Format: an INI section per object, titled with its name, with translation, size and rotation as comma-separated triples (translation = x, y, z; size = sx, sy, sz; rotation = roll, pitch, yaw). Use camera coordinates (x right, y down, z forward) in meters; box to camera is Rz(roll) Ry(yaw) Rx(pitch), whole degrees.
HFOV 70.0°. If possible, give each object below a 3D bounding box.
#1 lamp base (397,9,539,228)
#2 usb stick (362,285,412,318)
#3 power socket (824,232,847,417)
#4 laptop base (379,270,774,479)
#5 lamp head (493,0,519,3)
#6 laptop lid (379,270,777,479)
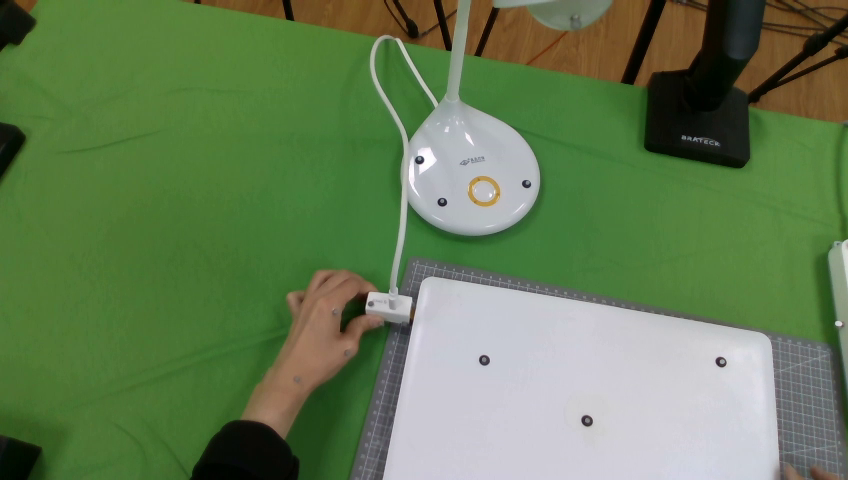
[lamp base]
translation = 0.046, -0.129, 0.625
size = 0.161, 0.181, 0.177
rotation = -24, 64, -13
[usb stick]
translation = -0.031, 0.062, 0.603
size = 0.059, 0.027, 0.021
rotation = 10, 60, -2
[power socket]
translation = 0.459, 0.091, 0.613
size = 0.072, 0.033, 0.225
rotation = 10, 64, 1
[laptop base]
translation = 0.148, 0.164, 0.574
size = 0.354, 0.023, 0.234
rotation = 9, 67, 2
[lamp head]
translation = 0.085, -0.210, 0.355
size = 0.112, 0.111, 0.123
rotation = -17, 109, -10
[laptop lid]
translation = 0.148, 0.161, 0.562
size = 0.356, 0.013, 0.240
rotation = 11, 67, 3
